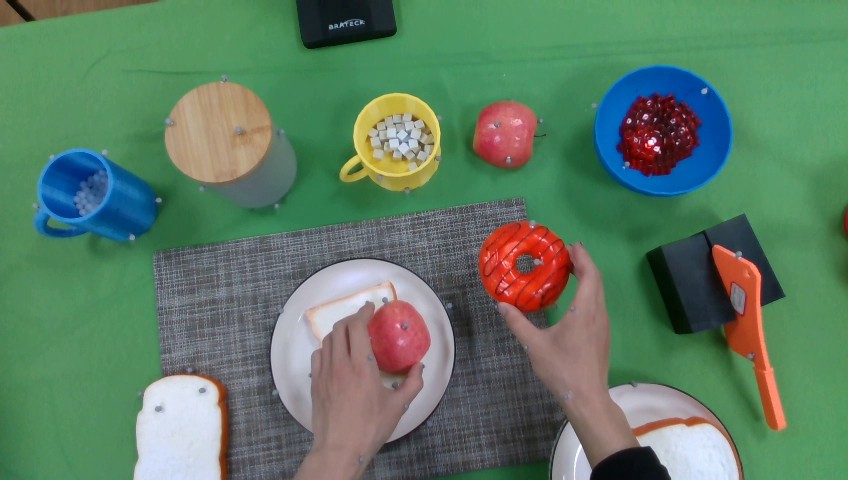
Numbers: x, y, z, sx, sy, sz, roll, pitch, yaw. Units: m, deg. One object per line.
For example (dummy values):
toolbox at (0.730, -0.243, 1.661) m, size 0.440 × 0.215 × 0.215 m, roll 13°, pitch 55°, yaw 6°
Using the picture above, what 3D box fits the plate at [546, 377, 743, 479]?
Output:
plate at (0.236, 0.254, 0.661) m, size 0.209 × 0.038 × 0.208 m, roll 0°, pitch 81°, yaw 2°

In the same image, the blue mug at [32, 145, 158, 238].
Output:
blue mug at (-0.380, -0.043, 0.687) m, size 0.116 × 0.106 × 0.082 m, roll -35°, pitch 81°, yaw -4°

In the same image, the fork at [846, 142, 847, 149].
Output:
fork at (0.494, -0.055, 0.650) m, size 0.209 × 0.018 × 0.028 m, roll 29°, pitch 78°, yaw -36°

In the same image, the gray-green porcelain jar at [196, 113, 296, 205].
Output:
gray-green porcelain jar at (-0.206, -0.099, 0.683) m, size 0.106 × 0.127 × 0.105 m, roll 0°, pitch 80°, yaw 1°

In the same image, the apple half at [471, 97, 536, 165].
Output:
apple half at (0.095, -0.135, 0.720) m, size 0.074 × 0.053 × 0.080 m, roll 13°, pitch 81°, yaw 6°

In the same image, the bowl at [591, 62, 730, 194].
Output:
bowl at (0.261, -0.118, 0.701) m, size 0.151 × 0.077 × 0.151 m, roll 0°, pitch 81°, yaw 1°

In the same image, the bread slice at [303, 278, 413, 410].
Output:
bread slice at (-0.066, 0.119, 0.675) m, size 0.107 × 0.018 × 0.133 m, roll -23°, pitch 80°, yaw 13°

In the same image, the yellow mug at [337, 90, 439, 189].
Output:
yellow mug at (-0.045, -0.109, 0.712) m, size 0.131 × 0.064 × 0.099 m, roll -32°, pitch 81°, yaw -3°

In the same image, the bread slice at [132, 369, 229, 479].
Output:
bread slice at (-0.275, 0.213, 0.685) m, size 0.105 × 0.019 × 0.131 m, roll -1°, pitch 82°, yaw 0°

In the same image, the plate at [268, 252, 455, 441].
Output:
plate at (-0.069, 0.118, 0.685) m, size 0.207 × 0.039 × 0.207 m, roll 0°, pitch 81°, yaw 1°

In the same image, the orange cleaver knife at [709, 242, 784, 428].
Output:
orange cleaver knife at (0.350, 0.103, 0.661) m, size 0.012 × 0.077 × 0.212 m, roll -20°, pitch 102°, yaw -9°

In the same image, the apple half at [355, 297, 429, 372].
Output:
apple half at (-0.033, 0.101, 0.643) m, size 0.081 × 0.033 × 0.081 m, roll 0°, pitch 80°, yaw 3°

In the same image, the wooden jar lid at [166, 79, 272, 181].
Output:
wooden jar lid at (-0.208, -0.111, 0.621) m, size 0.108 × 0.021 × 0.108 m, roll 0°, pitch 79°, yaw 2°

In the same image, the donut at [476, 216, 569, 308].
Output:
donut at (0.104, 0.023, 0.642) m, size 0.099 × 0.048 × 0.098 m, roll 0°, pitch 81°, yaw 0°
